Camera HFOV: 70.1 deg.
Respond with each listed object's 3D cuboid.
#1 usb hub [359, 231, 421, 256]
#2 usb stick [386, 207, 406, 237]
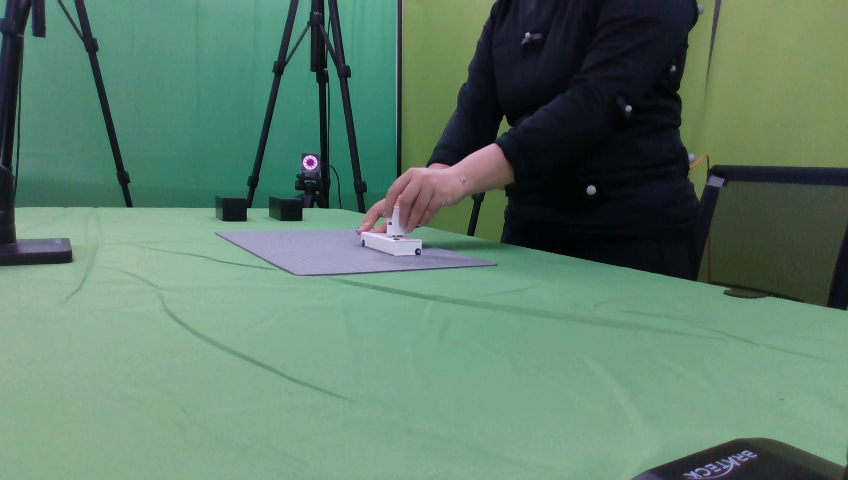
[{"bbox_3d":[-0.056,0.004,0.954,0.050,0.025,0.124,-2,8,-31],"label":"usb hub"},{"bbox_3d":[-0.043,-0.022,0.937,0.027,0.059,0.021,-6,10,-34],"label":"usb stick"}]
